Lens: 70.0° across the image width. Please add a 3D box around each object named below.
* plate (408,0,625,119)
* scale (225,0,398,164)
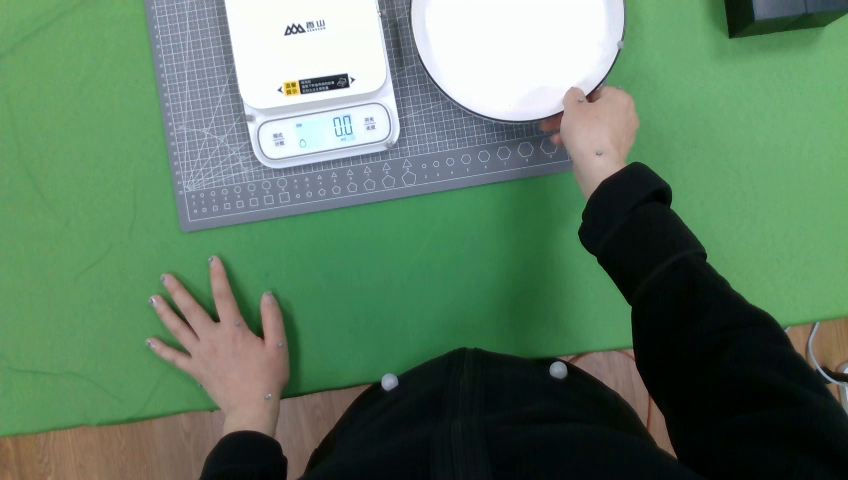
[{"bbox_3d":[0.089,-0.219,0.597,0.209,0.038,0.209,0,89,0],"label":"plate"},{"bbox_3d":[-0.112,-0.185,0.601,0.149,0.031,0.201,-10,91,0],"label":"scale"}]
